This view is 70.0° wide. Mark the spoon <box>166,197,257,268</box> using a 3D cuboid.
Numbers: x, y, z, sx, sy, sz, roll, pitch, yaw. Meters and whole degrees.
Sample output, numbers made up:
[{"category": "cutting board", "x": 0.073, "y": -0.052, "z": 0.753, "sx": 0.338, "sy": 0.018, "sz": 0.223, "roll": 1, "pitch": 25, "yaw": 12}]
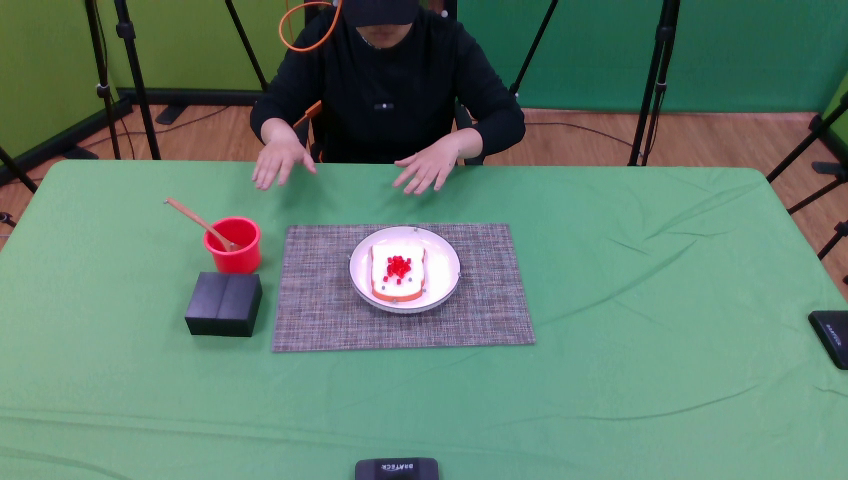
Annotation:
[{"category": "spoon", "x": -0.383, "y": -0.014, "z": 1.100, "sx": 0.194, "sy": 0.021, "sz": 0.041, "roll": 45, "pitch": 46, "yaw": -22}]

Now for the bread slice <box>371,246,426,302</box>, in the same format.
[{"category": "bread slice", "x": -0.048, "y": 0.060, "z": 1.123, "sx": 0.105, "sy": 0.019, "sz": 0.130, "roll": 0, "pitch": 45, "yaw": -3}]

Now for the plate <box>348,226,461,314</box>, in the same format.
[{"category": "plate", "x": -0.035, "y": 0.058, "z": 1.123, "sx": 0.209, "sy": 0.038, "sz": 0.208, "roll": 2, "pitch": 46, "yaw": -2}]
